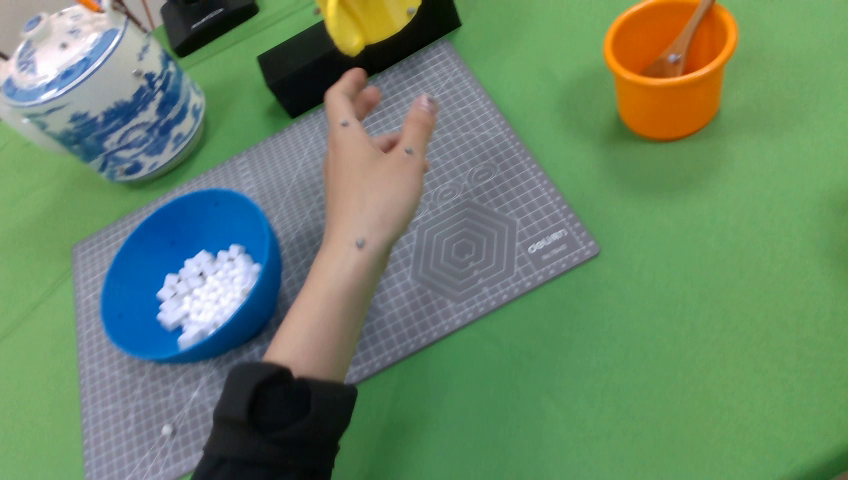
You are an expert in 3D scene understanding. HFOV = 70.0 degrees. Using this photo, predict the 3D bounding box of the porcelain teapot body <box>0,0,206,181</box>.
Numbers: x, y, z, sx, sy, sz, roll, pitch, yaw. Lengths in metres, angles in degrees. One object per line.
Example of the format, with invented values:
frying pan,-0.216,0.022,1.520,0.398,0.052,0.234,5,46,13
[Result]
porcelain teapot body,-0.359,-0.157,0.597,0.205,0.228,0.143,-24,56,7

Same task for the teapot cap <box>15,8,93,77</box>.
teapot cap,-0.346,-0.187,0.561,0.085,0.044,0.084,-10,59,18

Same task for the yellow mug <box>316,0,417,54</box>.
yellow mug,-0.064,-0.232,0.565,0.099,0.064,0.130,1,63,21

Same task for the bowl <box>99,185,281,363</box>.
bowl,-0.174,0.038,0.497,0.151,0.077,0.150,-9,58,15

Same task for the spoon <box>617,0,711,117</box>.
spoon,0.205,-0.172,0.438,0.022,0.194,0.041,-1,46,-33
